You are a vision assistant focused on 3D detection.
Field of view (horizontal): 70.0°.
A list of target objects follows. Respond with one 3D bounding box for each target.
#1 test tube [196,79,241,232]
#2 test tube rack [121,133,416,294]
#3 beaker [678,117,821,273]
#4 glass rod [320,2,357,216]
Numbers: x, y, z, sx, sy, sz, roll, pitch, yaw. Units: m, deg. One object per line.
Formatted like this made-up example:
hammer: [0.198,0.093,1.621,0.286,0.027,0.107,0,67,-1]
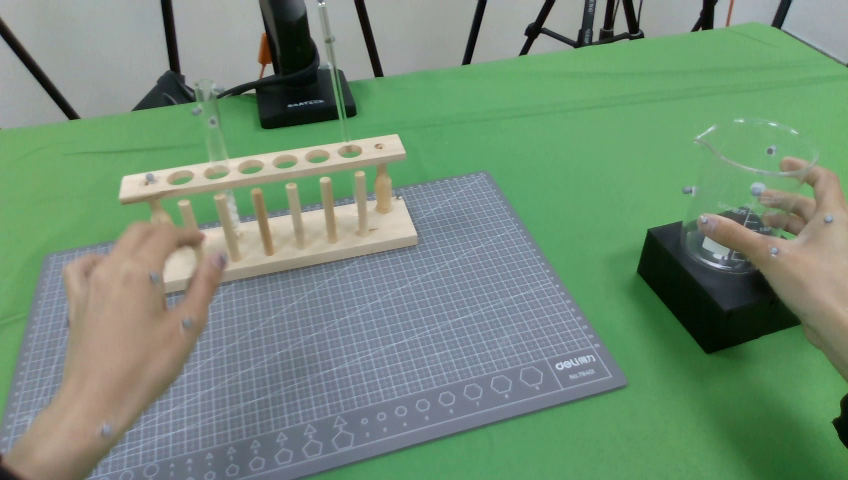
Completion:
test tube: [-0.175,-0.067,0.522,0.017,0.151,0.017,3,40,-2]
test tube rack: [-0.133,-0.026,0.550,0.243,0.086,0.066,-11,42,-10]
beaker: [0.238,-0.032,0.462,0.083,0.101,0.073,16,44,22]
glass rod: [-0.073,-0.107,0.540,0.008,0.201,0.008,-3,35,3]
